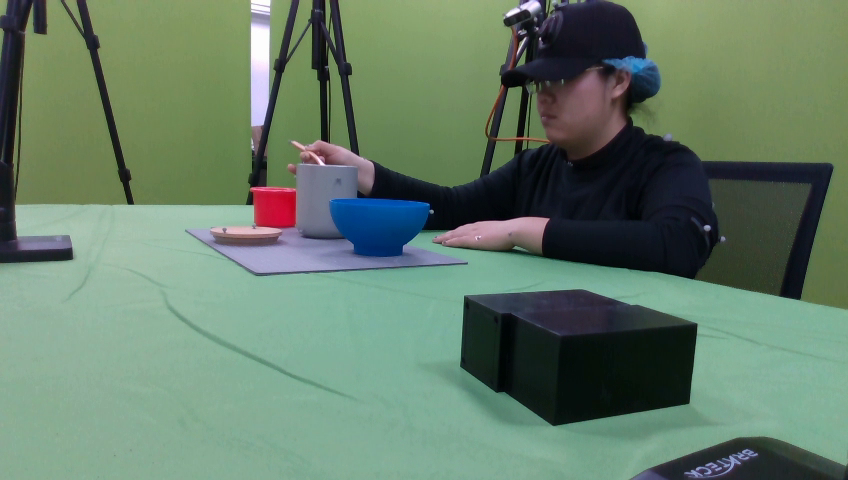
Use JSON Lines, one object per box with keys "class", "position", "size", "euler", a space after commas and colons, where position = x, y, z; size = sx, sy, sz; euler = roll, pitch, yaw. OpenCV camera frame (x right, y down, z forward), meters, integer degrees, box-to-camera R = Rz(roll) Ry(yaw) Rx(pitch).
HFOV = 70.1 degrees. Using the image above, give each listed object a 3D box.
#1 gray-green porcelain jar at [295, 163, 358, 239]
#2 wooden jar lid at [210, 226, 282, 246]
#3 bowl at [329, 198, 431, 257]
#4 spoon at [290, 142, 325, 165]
{"class": "gray-green porcelain jar", "position": [-0.170, -0.069, 1.054], "size": [0.106, 0.126, 0.106], "euler": [3, 7, 0]}
{"class": "wooden jar lid", "position": [-0.279, -0.006, 0.951], "size": [0.108, 0.020, 0.108], "euler": [2, 8, 0]}
{"class": "bowl", "position": [-0.066, -0.019, 0.894], "size": [0.151, 0.077, 0.151], "euler": [3, 7, 0]}
{"class": "spoon", "position": [-0.194, -0.142, 1.085], "size": [0.042, 0.021, 0.192], "euler": [-1, 30, -39]}
